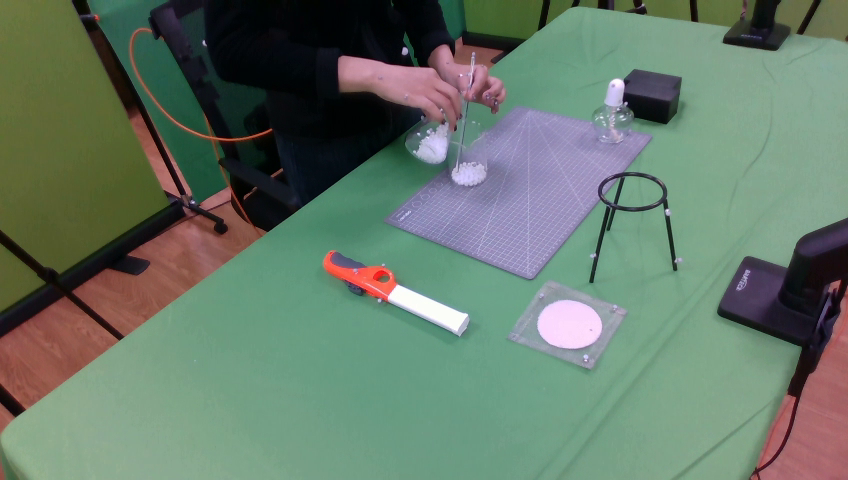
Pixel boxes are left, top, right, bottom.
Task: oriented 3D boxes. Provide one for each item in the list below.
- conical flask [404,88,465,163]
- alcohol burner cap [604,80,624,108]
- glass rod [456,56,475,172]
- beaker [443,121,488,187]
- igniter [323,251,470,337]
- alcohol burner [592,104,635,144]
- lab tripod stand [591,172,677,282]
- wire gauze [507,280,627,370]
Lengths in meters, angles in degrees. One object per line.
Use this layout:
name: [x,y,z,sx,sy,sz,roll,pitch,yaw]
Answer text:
conical flask: [0.025,-0.192,0.993,0.075,0.076,0.122,18,68,29]
alcohol burner cap: [0.350,-0.269,1.102,0.034,0.048,0.033,-2,46,2]
glass rod: [0.071,-0.217,1.053,0.008,0.200,0.008,7,15,-1]
beaker: [0.078,-0.150,1.083,0.074,0.101,0.083,-9,40,1]
igniter: [-0.052,0.075,0.901,0.274,0.025,0.057,22,60,32]
alcohol burner: [0.353,-0.242,1.126,0.078,0.119,0.077,-5,38,5]
lab tripod stand: [0.292,-0.022,0.867,0.148,0.132,0.147,-7,39,6]
wire gauze: [0.196,0.114,0.823,0.120,0.011,0.125,20,50,31]
